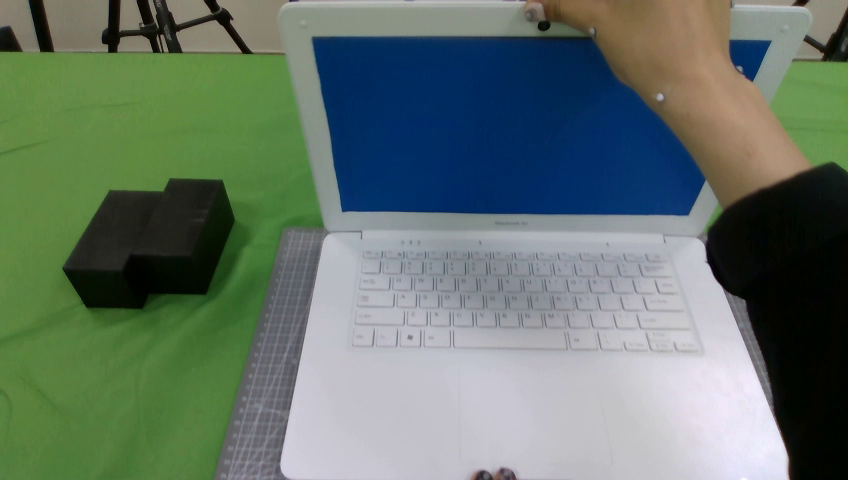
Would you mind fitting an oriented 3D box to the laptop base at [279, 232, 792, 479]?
[{"bbox_3d":[0.078,0.084,0.493,0.354,0.023,0.233,1,48,0],"label":"laptop base"}]

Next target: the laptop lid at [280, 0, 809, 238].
[{"bbox_3d":[0.080,-0.079,0.483,0.357,0.244,0.013,-1,50,1],"label":"laptop lid"}]
